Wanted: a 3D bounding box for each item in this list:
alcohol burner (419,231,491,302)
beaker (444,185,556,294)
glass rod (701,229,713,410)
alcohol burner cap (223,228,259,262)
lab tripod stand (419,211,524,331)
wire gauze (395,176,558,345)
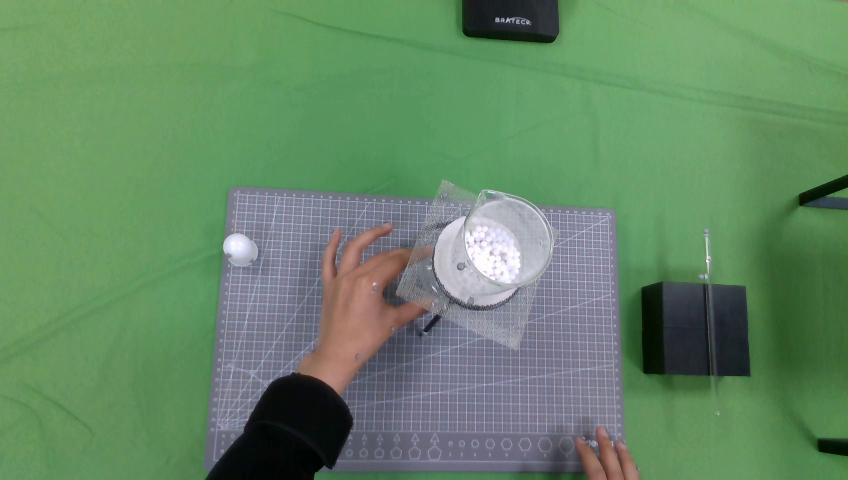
[{"bbox_3d":[0.036,0.025,0.633,0.078,0.119,0.077,2,79,-9],"label":"alcohol burner"},{"bbox_3d":[0.057,0.004,0.513,0.074,0.100,0.083,-21,82,-12],"label":"beaker"},{"bbox_3d":[0.312,0.085,0.668,0.008,0.008,0.199,4,80,-7],"label":"glass rod"},{"bbox_3d":[-0.195,0.003,0.642,0.034,0.048,0.033,1,78,-6],"label":"alcohol burner cap"},{"bbox_3d":[0.046,0.028,0.624,0.149,0.132,0.147,2,77,-8],"label":"lab tripod stand"},{"bbox_3d":[0.050,0.017,0.560,0.125,0.011,0.121,25,78,-6],"label":"wire gauze"}]
